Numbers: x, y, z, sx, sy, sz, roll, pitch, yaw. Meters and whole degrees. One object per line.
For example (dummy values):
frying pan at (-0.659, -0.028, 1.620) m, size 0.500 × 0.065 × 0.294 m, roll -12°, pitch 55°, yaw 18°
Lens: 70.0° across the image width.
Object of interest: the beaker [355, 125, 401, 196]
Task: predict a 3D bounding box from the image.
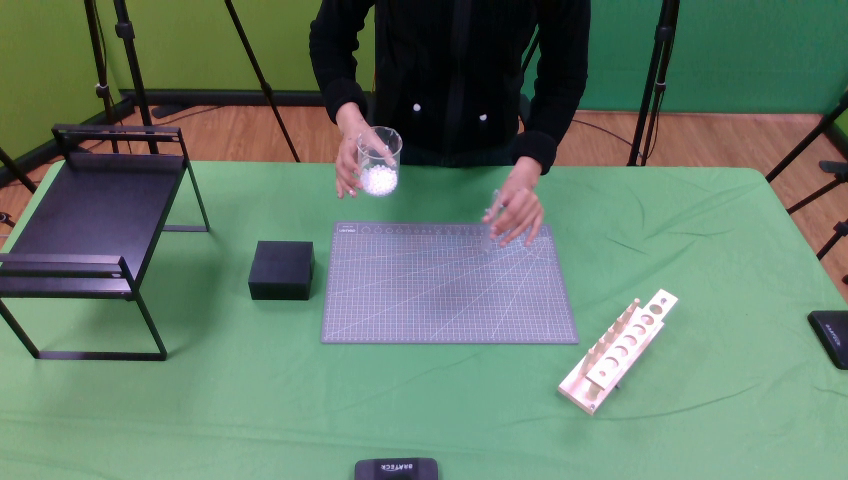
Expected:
beaker at (-0.075, -0.130, 1.008) m, size 0.074 × 0.101 × 0.084 m, roll 27°, pitch 55°, yaw 13°

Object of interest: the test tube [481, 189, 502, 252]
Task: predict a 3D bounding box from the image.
test tube at (0.114, -0.030, 1.040) m, size 0.017 × 0.151 × 0.017 m, roll 2°, pitch 50°, yaw -2°

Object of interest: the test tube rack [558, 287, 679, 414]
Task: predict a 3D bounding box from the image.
test tube rack at (0.326, 0.170, 1.009) m, size 0.066 × 0.085 × 0.242 m, roll 35°, pitch 54°, yaw 26°
